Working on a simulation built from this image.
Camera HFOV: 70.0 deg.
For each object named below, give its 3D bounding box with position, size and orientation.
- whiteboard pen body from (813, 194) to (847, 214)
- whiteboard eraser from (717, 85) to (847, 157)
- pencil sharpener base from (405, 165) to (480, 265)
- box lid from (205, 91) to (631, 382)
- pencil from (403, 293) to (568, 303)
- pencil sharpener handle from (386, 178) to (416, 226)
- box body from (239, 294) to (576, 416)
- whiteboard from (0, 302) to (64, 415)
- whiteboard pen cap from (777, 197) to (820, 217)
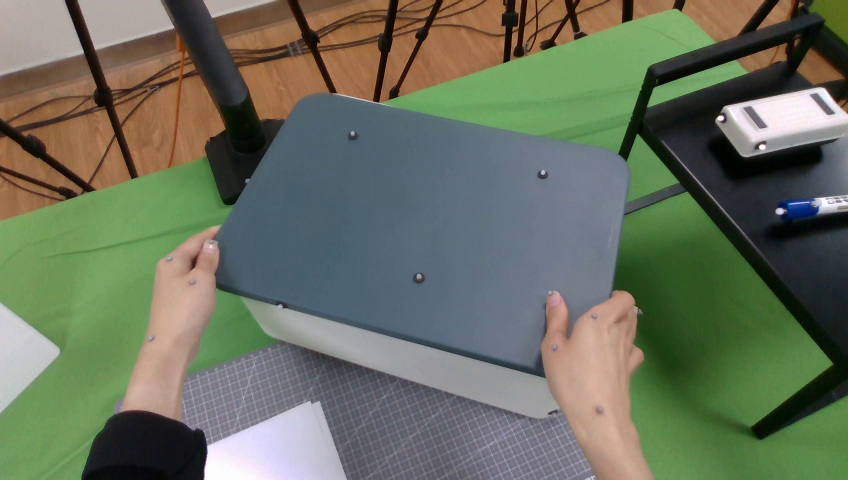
[{"bbox_3d":[0.395,-0.035,0.551,0.141,0.017,0.017,-6,56,-8],"label":"whiteboard pen body"},{"bbox_3d":[0.352,-0.114,0.594,0.113,0.042,0.055,-12,58,-7],"label":"whiteboard eraser"},{"bbox_3d":[0.021,-0.028,0.715,0.076,0.108,0.061,14,56,11],"label":"pencil sharpener base"},{"bbox_3d":[0.001,-0.025,0.589,0.370,0.015,0.261,14,58,10],"label":"box lid"},{"bbox_3d":[0.071,0.067,0.711,0.194,0.012,0.012,0,56,5],"label":"pencil"},{"bbox_3d":[-0.030,-0.045,0.711,0.030,0.068,0.036,14,44,11],"label":"pencil sharpener handle"},{"bbox_3d":[0.009,0.013,0.660,0.363,0.162,0.252,15,57,11],"label":"box body"},{"bbox_3d":[-0.566,0.086,0.577,0.142,0.309,0.216,17,57,35],"label":"whiteboard"},{"bbox_3d":[0.337,-0.030,0.543,0.033,0.018,0.018,-5,56,-9],"label":"whiteboard pen cap"}]
